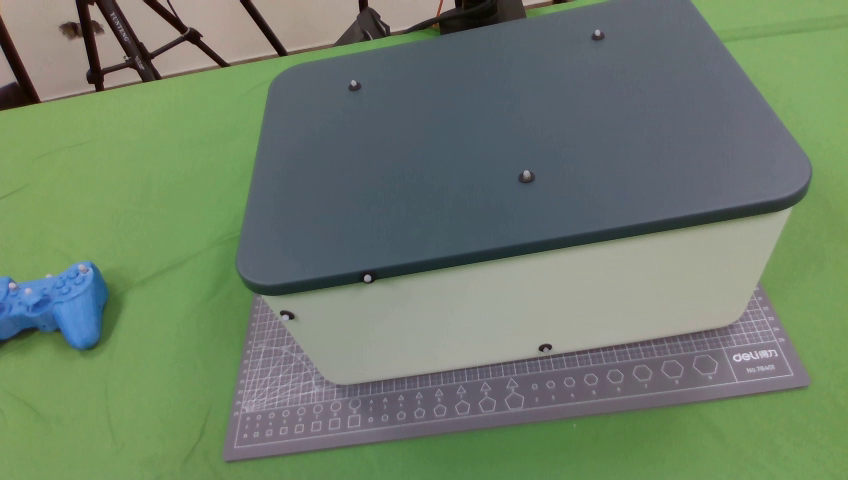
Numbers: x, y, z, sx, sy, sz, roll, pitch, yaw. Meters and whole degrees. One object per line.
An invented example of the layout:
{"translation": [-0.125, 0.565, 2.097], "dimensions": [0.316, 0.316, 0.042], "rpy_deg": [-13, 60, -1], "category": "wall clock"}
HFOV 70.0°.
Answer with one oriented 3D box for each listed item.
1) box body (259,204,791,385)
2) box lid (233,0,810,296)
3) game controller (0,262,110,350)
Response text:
{"translation": [0.062, -0.038, 0.508], "dimensions": [0.364, 0.162, 0.251], "rpy_deg": [-10, 47, 5], "category": "box body"}
{"translation": [0.046, -0.087, 0.455], "dimensions": [0.371, 0.015, 0.260], "rpy_deg": [-10, 47, 5], "category": "box lid"}
{"translation": [-0.394, 0.070, 0.604], "dimensions": [0.155, 0.052, 0.096], "rpy_deg": [-9, 43, 5], "category": "game controller"}
